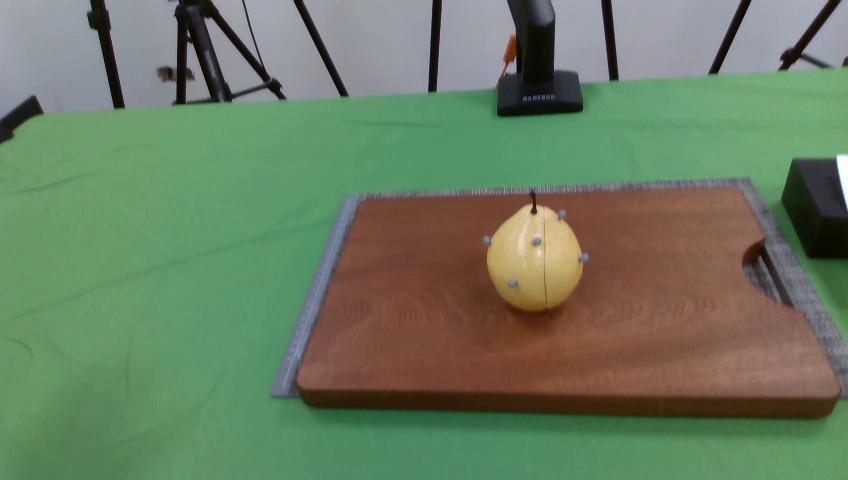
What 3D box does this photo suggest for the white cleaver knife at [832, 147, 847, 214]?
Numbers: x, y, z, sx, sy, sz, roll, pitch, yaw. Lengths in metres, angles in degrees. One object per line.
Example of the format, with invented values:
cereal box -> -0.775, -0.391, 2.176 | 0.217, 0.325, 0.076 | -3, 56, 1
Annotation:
white cleaver knife -> 0.392, 0.024, 0.490 | 0.065, 0.022, 0.284 | 0, 49, 15

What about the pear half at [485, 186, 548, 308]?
pear half -> 0.077, 0.002, 0.497 | 0.056, 0.111, 0.076 | -1, 35, 9

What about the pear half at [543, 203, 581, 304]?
pear half -> 0.113, 0.010, 0.496 | 0.031, 0.089, 0.070 | -1, 31, 9
